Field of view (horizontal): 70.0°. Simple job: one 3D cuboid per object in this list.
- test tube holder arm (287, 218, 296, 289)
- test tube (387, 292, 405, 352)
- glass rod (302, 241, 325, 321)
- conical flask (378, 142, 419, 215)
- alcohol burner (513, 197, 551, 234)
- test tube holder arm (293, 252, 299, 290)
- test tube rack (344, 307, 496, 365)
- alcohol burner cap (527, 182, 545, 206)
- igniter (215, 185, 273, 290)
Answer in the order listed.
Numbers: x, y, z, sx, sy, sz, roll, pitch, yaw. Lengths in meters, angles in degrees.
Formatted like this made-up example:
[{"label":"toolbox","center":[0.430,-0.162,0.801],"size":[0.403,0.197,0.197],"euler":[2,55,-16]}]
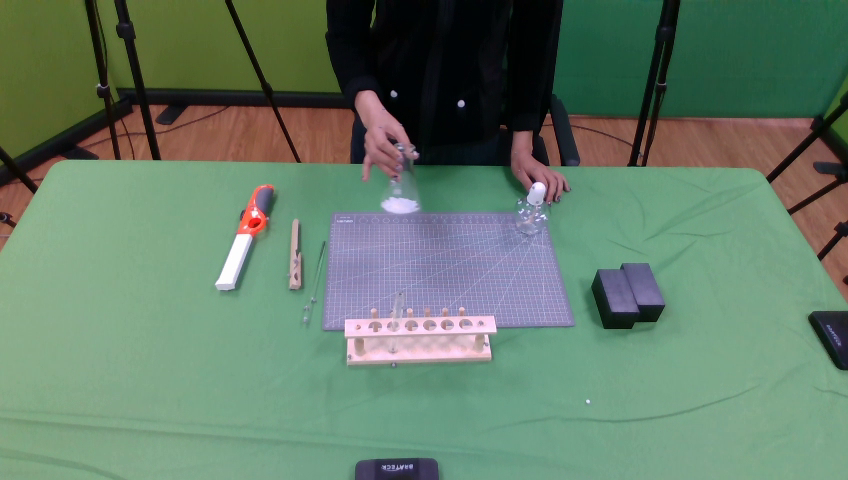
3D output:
[{"label":"test tube holder arm","center":[-0.254,0.022,1.158],"size":[0.013,0.015,0.177],"euler":[24,36,-35]},{"label":"test tube","center":[-0.045,0.133,0.956],"size":[0.017,0.151,0.017],"euler":[5,47,-5]},{"label":"glass rod","center":[-0.204,0.071,1.124],"size":[0.008,0.008,0.198],"euler":[4,43,1]},{"label":"conical flask","center":[-0.043,-0.111,1.083],"size":[0.075,0.122,0.075],"euler":[4,23,-2]},{"label":"alcohol burner","center":[0.220,-0.069,1.217],"size":[0.078,0.119,0.077],"euler":[3,47,-3]},{"label":"test tube holder arm","center":[-0.241,0.056,1.131],"size":[0.010,0.015,0.087],"euler":[25,35,-33]},{"label":"test tube rack","center":[-0.009,0.154,1.007],"size":[0.242,0.085,0.066],"euler":[-1,46,-5]},{"label":"alcohol burner cap","center":[0.222,-0.092,1.190],"size":[0.034,0.048,0.033],"euler":[2,54,-3]},{"label":"igniter","center":[-0.347,-0.014,1.182],"size":[0.057,0.025,0.275],"euler":[-1,45,8]}]
